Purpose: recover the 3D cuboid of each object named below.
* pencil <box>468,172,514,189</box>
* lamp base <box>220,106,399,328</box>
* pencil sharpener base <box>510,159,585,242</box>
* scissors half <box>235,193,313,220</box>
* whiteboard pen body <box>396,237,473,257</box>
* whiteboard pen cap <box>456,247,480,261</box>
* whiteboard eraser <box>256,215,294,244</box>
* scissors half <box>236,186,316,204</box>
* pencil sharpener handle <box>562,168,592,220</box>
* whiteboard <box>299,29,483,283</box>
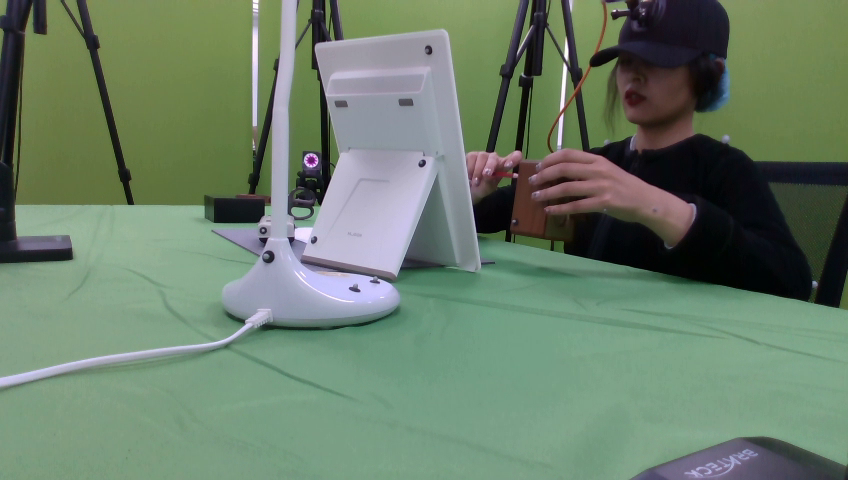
[{"bbox_3d":[0.081,-0.099,0.945,0.012,0.012,0.193,-2,16,-31],"label":"pencil"},{"bbox_3d":[-0.101,-0.023,0.531,0.160,0.180,0.179,4,10,10],"label":"lamp base"},{"bbox_3d":[0.171,-0.054,0.833,0.062,0.107,0.076,6,4,-34],"label":"pencil sharpener base"},{"bbox_3d":[-0.325,-0.077,1.319,0.176,0.040,0.012,17,6,-31],"label":"scissors half"},{"bbox_3d":[0.014,0.012,0.886,0.140,0.017,0.017,9,10,38],"label":"whiteboard pen body"},{"bbox_3d":[0.061,0.020,0.851,0.033,0.018,0.018,10,10,37],"label":"whiteboard pen cap"},{"bbox_3d":[-0.232,-0.016,0.951,0.056,0.042,0.112,2,7,-12],"label":"whiteboard eraser"},{"bbox_3d":[-0.320,-0.097,1.316,0.176,0.040,0.013,-3,11,-29],"label":"scissors half"},{"bbox_3d":[0.205,-0.060,0.793,0.036,0.068,0.030,-13,15,-32],"label":"pencil sharpener handle"},{"bbox_3d":[-0.074,-0.082,0.742,0.216,0.305,0.144,9,30,38],"label":"whiteboard"}]
